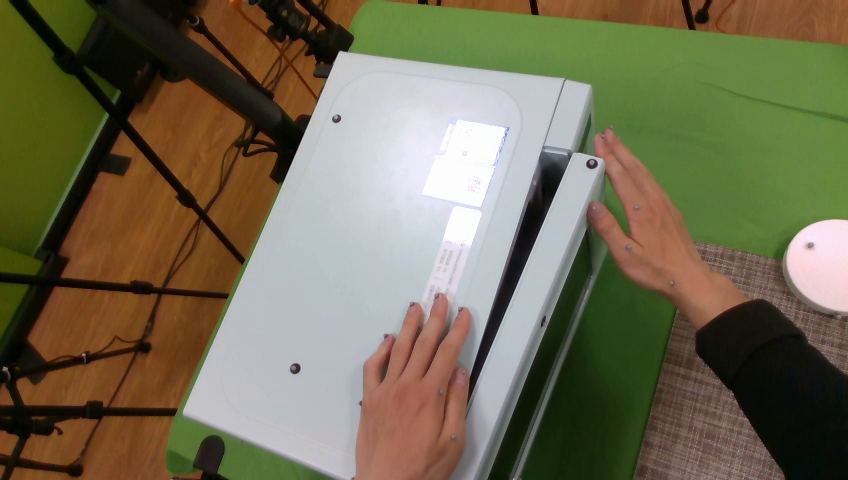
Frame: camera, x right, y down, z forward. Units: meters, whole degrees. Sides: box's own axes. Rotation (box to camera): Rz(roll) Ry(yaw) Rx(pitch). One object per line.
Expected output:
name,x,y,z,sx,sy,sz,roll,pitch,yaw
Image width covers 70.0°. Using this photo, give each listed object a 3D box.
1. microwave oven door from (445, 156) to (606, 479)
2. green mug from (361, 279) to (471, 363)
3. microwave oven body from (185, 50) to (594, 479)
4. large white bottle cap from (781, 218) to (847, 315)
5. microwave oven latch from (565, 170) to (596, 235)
microwave oven door,0.116,0.118,0.641,0.039,0.246,0.354,19,76,23
green mug,-0.008,0.096,0.719,0.125,0.106,0.092,0,73,10
microwave oven body,-0.015,0.047,0.715,0.324,0.262,0.440,14,75,21
large white bottle cap,0.479,0.029,0.702,0.114,0.018,0.114,-6,68,15
microwave oven latch,0.204,-0.048,0.792,0.030,0.030,0.079,14,75,21
